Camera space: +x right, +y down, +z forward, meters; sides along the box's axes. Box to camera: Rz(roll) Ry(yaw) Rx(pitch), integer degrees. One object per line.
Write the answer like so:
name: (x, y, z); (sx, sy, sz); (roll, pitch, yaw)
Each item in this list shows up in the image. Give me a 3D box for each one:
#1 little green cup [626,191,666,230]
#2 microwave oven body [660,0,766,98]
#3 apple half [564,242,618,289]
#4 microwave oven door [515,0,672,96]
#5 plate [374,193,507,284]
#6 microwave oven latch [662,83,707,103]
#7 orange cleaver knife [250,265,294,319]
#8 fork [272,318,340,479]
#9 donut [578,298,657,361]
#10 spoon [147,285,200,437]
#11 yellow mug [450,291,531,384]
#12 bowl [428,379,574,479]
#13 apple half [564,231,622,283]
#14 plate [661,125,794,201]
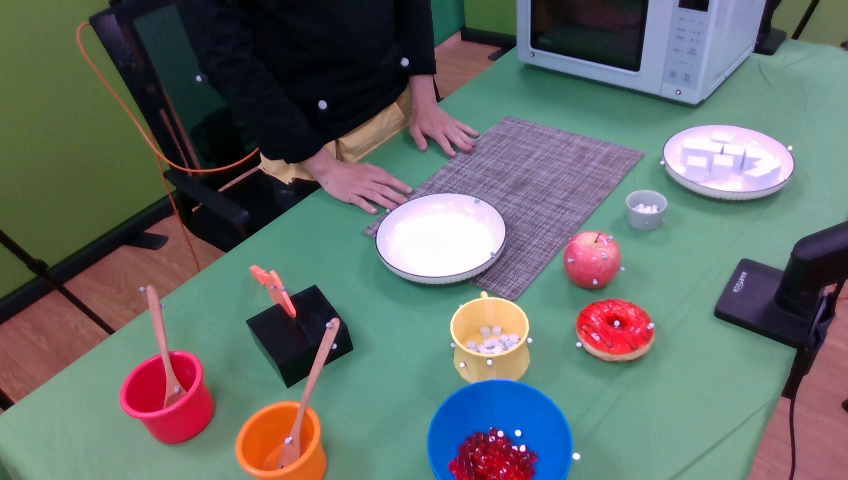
little green cup: (0.352, -0.046, 0.963); (0.061, 0.039, 0.061); (-4, 40, 4)
microwave oven body: (0.472, -0.513, 1.317); (0.438, 0.261, 0.327); (26, 51, 34)
apple half: (0.229, 0.044, 0.848); (0.081, 0.081, 0.033); (16, 41, 26)
microwave oven door: (0.343, -0.454, 1.259); (0.353, 0.245, 0.039); (26, 51, 33)
plate: (0.027, 0.000, 0.952); (0.209, 0.038, 0.208); (-4, 40, 4)
microwave oven latch: (0.517, -0.296, 1.204); (0.078, 0.029, 0.030); (27, 52, 35)
orange cleaver knife: (-0.221, 0.073, 0.876); (0.012, 0.077, 0.210); (-24, 13, -22)
fork: (-0.131, 0.186, 0.676); (0.028, 0.019, 0.207); (18, 90, 28)
donut: (0.250, 0.115, 0.786); (0.099, 0.048, 0.098); (-5, 37, 4)
spoon: (-0.318, 0.148, 0.754); (0.042, 0.021, 0.193); (-15, 85, -10)
yellow mug: (0.085, 0.120, 0.786); (0.100, 0.064, 0.130); (-7, 39, 1)
bowl: (0.082, 0.233, 0.644); (0.151, 0.077, 0.150); (-4, 40, 4)
apple half: (0.248, 0.021, 0.874); (0.080, 0.075, 0.053); (13, 40, 28)
plate: (0.513, -0.128, 1.035); (0.207, 0.039, 0.206); (-4, 40, 4)
